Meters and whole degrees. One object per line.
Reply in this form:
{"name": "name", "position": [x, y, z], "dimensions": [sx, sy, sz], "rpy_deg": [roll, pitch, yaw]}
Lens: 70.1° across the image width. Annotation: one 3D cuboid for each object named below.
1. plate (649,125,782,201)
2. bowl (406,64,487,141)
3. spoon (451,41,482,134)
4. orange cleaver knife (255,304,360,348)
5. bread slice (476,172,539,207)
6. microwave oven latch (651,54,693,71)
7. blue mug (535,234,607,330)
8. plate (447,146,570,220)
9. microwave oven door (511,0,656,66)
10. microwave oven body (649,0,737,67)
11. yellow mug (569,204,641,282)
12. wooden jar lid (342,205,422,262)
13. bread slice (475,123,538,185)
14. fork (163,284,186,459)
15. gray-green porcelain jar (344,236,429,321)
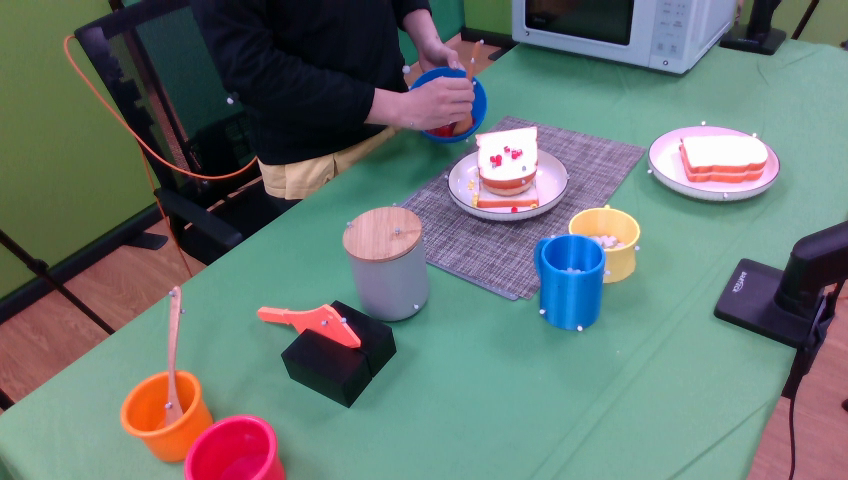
{"name": "plate", "position": [0.493, -0.128, 1.036], "dimensions": [0.207, 0.039, 0.206], "rpy_deg": [-4, 41, 4]}
{"name": "bowl", "position": [0.042, -0.244, 1.138], "dimensions": [0.151, 0.077, 0.151], "rpy_deg": [0, 73, 1]}
{"name": "spoon", "position": [0.074, -0.255, 1.038], "dimensions": [0.042, 0.194, 0.021], "rpy_deg": [-22, 53, -24]}
{"name": "orange cleaver knife", "position": [-0.161, 0.115, 0.813], "dimensions": [0.210, 0.077, 0.012], "rpy_deg": [-4, 32, 46]}
{"name": "bread slice", "position": [0.144, -0.103, 1.058], "dimensions": [0.105, 0.019, 0.131], "rpy_deg": [-1, 44, 5]}
{"name": "microwave oven latch", "position": [0.532, -0.386, 1.301], "dimensions": [0.078, 0.029, 0.030], "rpy_deg": [26, 52, 34]}
{"name": "blue mug", "position": [0.190, 0.048, 0.824], "dimensions": [0.082, 0.106, 0.115], "rpy_deg": [-26, 44, -21]}
{"name": "plate", "position": [0.145, -0.098, 1.046], "dimensions": [0.209, 0.038, 0.208], "rpy_deg": [-4, 41, 4]}
{"name": "microwave oven door", "position": [0.351, -0.539, 1.349], "dimensions": [0.353, 0.245, 0.039], "rpy_deg": [24, 50, 31]}
{"name": "microwave oven body", "position": [0.475, -0.602, 1.411], "dimensions": [0.438, 0.261, 0.327], "rpy_deg": [23, 50, 32]}
{"name": "yellow mug", "position": [0.268, -0.005, 0.904], "dimensions": [0.099, 0.064, 0.130], "rpy_deg": [7, 41, 15]}
{"name": "wooden jar lid", "position": [-0.055, -0.006, 0.808], "dimensions": [0.108, 0.021, 0.108], "rpy_deg": [-6, 41, 6]}
{"name": "bread slice", "position": [0.142, -0.143, 1.008], "dimensions": [0.107, 0.018, 0.133], "rpy_deg": [-8, 47, 9]}
{"name": "fork", "position": [-0.302, 0.157, 0.733], "dimensions": [0.028, 0.019, 0.207], "rpy_deg": [-3, 84, 15]}
{"name": "gray-green porcelain jar", "position": [-0.049, 0.042, 0.849], "dimensions": [0.106, 0.127, 0.105], "rpy_deg": [-4, 41, 4]}
